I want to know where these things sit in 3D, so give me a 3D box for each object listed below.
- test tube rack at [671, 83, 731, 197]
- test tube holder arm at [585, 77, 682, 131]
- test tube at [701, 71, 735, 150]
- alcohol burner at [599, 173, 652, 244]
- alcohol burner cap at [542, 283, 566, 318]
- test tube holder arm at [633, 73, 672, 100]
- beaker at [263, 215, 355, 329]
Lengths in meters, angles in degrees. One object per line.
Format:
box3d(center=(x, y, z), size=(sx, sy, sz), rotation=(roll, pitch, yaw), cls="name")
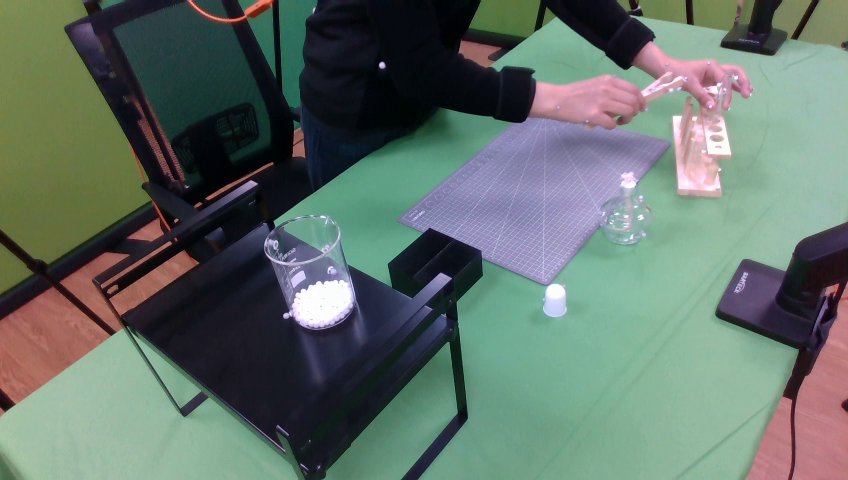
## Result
box3d(center=(0.483, -0.184, 1.067), size=(0.066, 0.085, 0.242), rotation=(5, 42, 15), cls="test tube rack")
box3d(center=(0.327, -0.213, 0.942), size=(0.179, 0.015, 0.013), rotation=(-28, 40, -11), cls="test tube holder arm")
box3d(center=(0.490, -0.213, 1.013), size=(0.017, 0.151, 0.017), rotation=(-2, 46, 3), cls="test tube")
box3d(center=(0.308, -0.052, 0.920), size=(0.078, 0.119, 0.077), rotation=(-5, 42, 5), cls="alcohol burner")
box3d(center=(0.182, 0.081, 0.839), size=(0.034, 0.048, 0.033), rotation=(-3, 41, 3), cls="alcohol burner cap")
box3d(center=(0.361, -0.238, 0.957), size=(0.088, 0.015, 0.010), rotation=(-37, 43, -21), cls="test tube holder arm")
box3d(center=(-0.111, 0.034, 0.616), size=(0.073, 0.101, 0.084), rotation=(13, 44, 23), cls="beaker")
